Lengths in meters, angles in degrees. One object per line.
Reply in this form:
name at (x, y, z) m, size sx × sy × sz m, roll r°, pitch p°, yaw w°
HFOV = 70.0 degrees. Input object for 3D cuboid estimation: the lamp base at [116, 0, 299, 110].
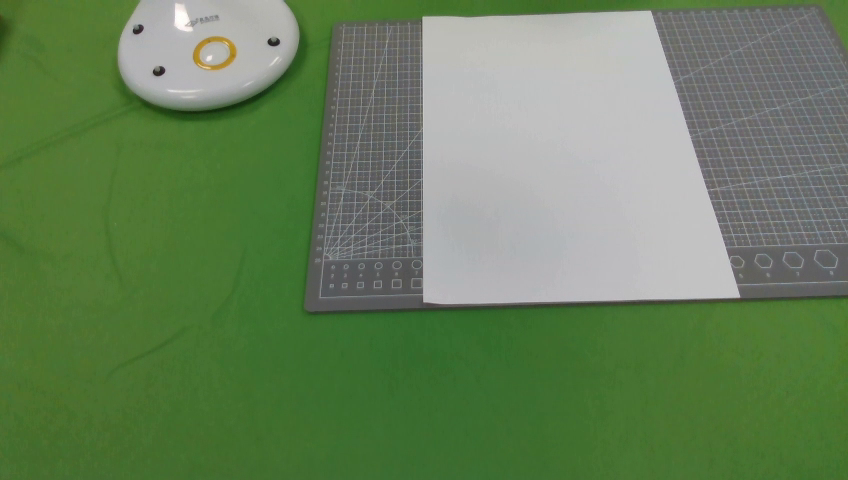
lamp base at (-0.203, -0.227, 0.485) m, size 0.161 × 0.182 × 0.177 m, roll -29°, pitch 59°, yaw -15°
